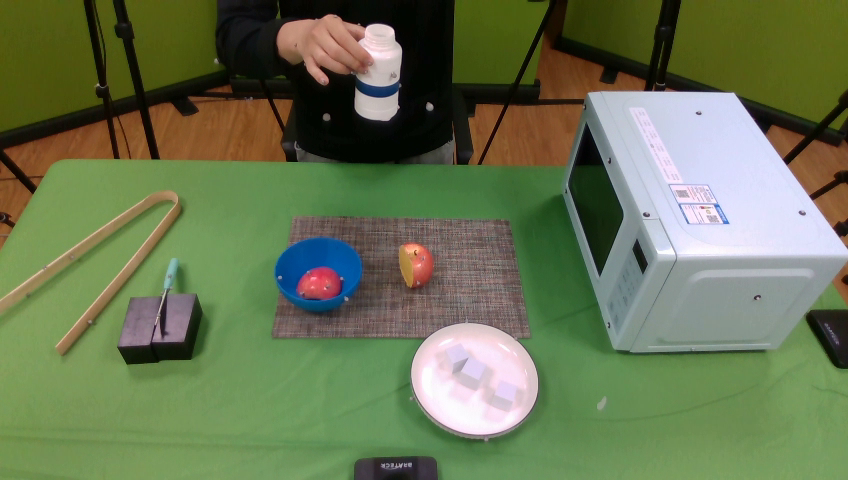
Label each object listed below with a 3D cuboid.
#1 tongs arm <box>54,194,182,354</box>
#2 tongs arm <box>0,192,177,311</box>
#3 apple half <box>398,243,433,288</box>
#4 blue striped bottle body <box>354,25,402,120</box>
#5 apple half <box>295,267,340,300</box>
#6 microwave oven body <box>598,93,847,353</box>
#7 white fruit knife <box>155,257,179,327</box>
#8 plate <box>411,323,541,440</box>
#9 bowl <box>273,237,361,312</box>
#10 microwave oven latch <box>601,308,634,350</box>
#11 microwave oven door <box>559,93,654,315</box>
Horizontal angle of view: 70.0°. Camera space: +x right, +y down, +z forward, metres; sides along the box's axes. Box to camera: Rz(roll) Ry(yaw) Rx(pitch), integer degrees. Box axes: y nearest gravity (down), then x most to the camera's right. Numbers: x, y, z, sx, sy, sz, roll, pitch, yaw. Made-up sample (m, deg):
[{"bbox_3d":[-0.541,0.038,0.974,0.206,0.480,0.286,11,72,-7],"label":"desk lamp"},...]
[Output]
[{"bbox_3d":[-0.544,0.048,1.108,0.028,0.028,0.385,11,45,10],"label":"tongs arm"},{"bbox_3d":[-0.618,0.019,1.124,0.050,0.026,0.384,23,47,16],"label":"tongs arm"},{"bbox_3d":[-0.012,0.046,1.115,0.053,0.075,0.080,-11,44,-19],"label":"apple half"},{"bbox_3d":[-0.065,-0.235,0.845,0.063,0.121,0.062,5,43,-4],"label":"blue striped bottle body"},{"bbox_3d":[-0.187,0.070,1.067,0.081,0.033,0.081,3,47,-3],"label":"apple half"},{"bbox_3d":[0.475,-0.041,1.109,0.326,0.261,0.438,-1,45,-4],"label":"microwave oven body"},{"bbox_3d":[-0.440,0.085,1.037,0.016,0.027,0.206,10,26,-19],"label":"white fruit knife"},{"bbox_3d":[0.082,0.228,0.976,0.208,0.039,0.206,2,45,-2],"label":"plate"},{"bbox_3d":[-0.186,0.074,1.069,0.151,0.077,0.150,3,46,-3],"label":"bowl"},{"bbox_3d":[0.331,0.153,1.044,0.030,0.029,0.078,-2,45,-5],"label":"microwave oven latch"},{"bbox_3d":[0.327,-0.074,1.123,0.039,0.245,0.353,-1,46,-5],"label":"microwave oven door"}]
